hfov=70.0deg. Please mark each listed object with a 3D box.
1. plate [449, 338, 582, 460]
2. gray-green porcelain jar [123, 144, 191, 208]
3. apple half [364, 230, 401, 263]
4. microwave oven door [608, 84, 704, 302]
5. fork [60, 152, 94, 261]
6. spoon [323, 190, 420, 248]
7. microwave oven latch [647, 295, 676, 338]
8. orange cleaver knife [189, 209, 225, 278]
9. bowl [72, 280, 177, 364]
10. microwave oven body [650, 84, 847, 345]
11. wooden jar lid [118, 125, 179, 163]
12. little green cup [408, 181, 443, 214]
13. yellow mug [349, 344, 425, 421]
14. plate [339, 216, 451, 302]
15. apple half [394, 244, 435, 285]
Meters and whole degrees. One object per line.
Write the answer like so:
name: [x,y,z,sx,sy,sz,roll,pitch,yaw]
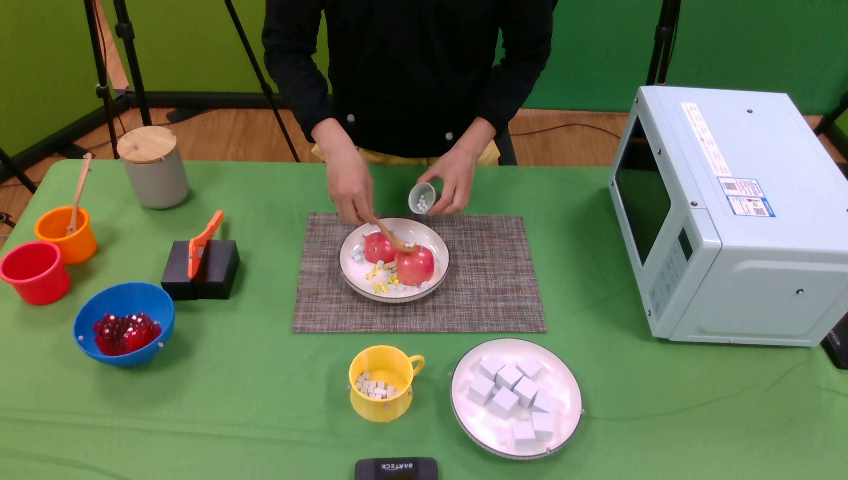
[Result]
plate: [0.141,0.251,0.955,0.208,0.039,0.206,2,47,-2]
gray-green porcelain jar: [-0.530,-0.137,1.213,0.106,0.127,0.105,2,46,-2]
apple half: [-0.080,0.005,1.160,0.081,0.033,0.081,3,50,-3]
microwave oven door: [0.424,-0.096,1.138,0.039,0.245,0.353,3,46,-1]
fork: [-0.638,-0.063,1.119,0.028,0.018,0.207,12,90,9]
spoon: [-0.093,-0.037,1.071,0.194,0.042,0.021,33,55,-3]
microwave oven latch: [0.413,0.133,1.060,0.030,0.029,0.078,4,46,1]
orange cleaver knife: [-0.400,0.002,1.122,0.012,0.077,0.210,4,23,-4]
bowl: [-0.472,0.147,0.982,0.151,0.077,0.150,2,46,-2]
microwave oven body: [0.569,-0.054,1.116,0.326,0.261,0.439,2,46,-1]
wooden jar lid: [-0.528,-0.181,1.167,0.108,0.021,0.107,4,48,-4]
little green cup: [0.005,-0.078,1.149,0.061,0.039,0.061,-5,78,23]
yellow mug: [-0.054,0.217,0.954,0.131,0.064,0.099,-24,53,-25]
plate: [-0.054,0.038,1.138,0.209,0.038,0.208,2,46,-2]
apple half: [-0.016,0.037,1.120,0.075,0.053,0.080,1,46,-6]
